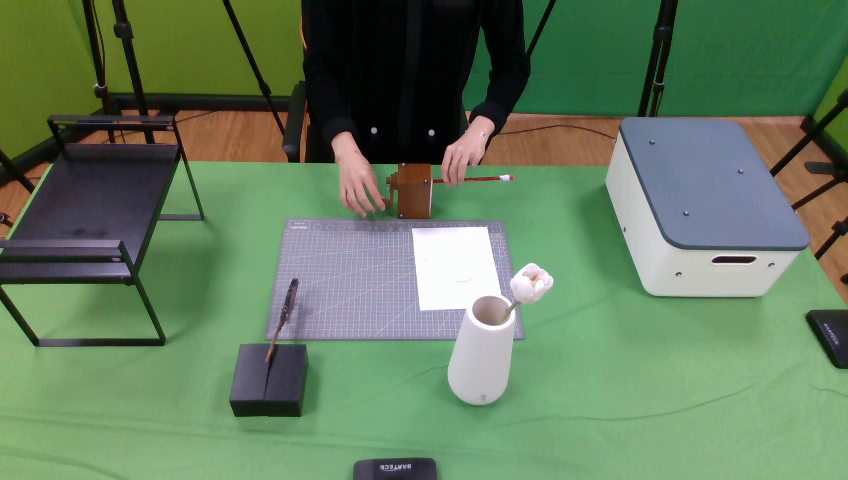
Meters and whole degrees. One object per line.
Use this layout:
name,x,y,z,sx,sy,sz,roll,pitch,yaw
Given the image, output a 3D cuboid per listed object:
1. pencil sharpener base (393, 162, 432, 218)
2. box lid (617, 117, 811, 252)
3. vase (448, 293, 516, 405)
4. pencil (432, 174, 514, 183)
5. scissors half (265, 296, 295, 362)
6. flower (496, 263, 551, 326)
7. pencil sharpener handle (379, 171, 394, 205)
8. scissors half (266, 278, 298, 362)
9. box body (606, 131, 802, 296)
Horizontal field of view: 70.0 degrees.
pencil sharpener base,-0.025,-0.100,1.233,0.077,0.107,0.061,1,47,-3
box lid,0.534,-0.117,1.148,0.263,0.015,0.369,0,47,-3
vase,0.091,0.169,0.921,0.098,0.201,0.097,3,47,-3
pencil,0.085,-0.123,1.220,0.194,0.012,0.012,-3,47,-2
scissors half,-0.240,0.143,1.004,0.013,0.040,0.174,17,28,-6
flower,0.102,0.120,0.853,0.044,0.363,0.038,-1,64,-10
pencil sharpener handle,-0.075,-0.105,1.211,0.031,0.068,0.036,1,5,-3
scissors half,-0.234,0.127,0.993,0.013,0.040,0.174,13,46,-4
box body,0.530,-0.067,1.204,0.254,0.161,0.361,0,46,-4
